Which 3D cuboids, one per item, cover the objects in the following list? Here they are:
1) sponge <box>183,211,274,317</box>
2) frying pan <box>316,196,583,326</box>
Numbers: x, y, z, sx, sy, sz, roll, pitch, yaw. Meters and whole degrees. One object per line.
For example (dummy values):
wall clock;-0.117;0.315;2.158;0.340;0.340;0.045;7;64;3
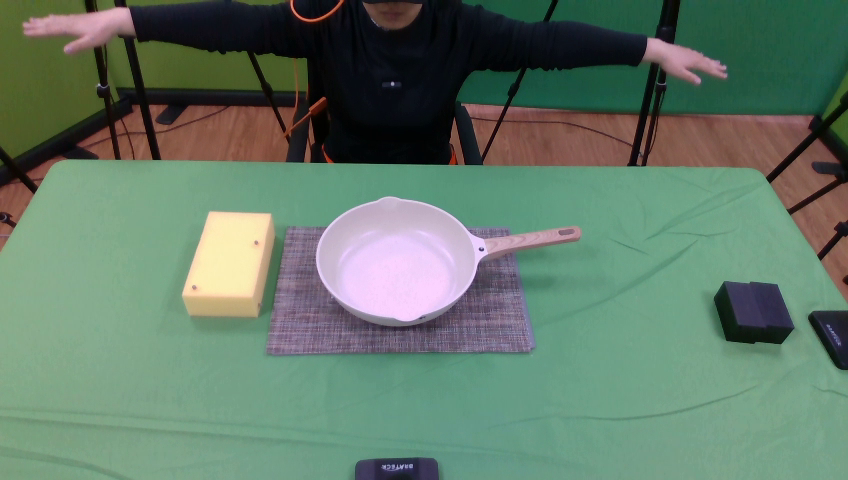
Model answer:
sponge;-0.351;0.041;1.107;0.118;0.061;0.205;1;46;-3
frying pan;0.054;0.027;1.114;0.488;0.103;0.304;-9;48;-1
